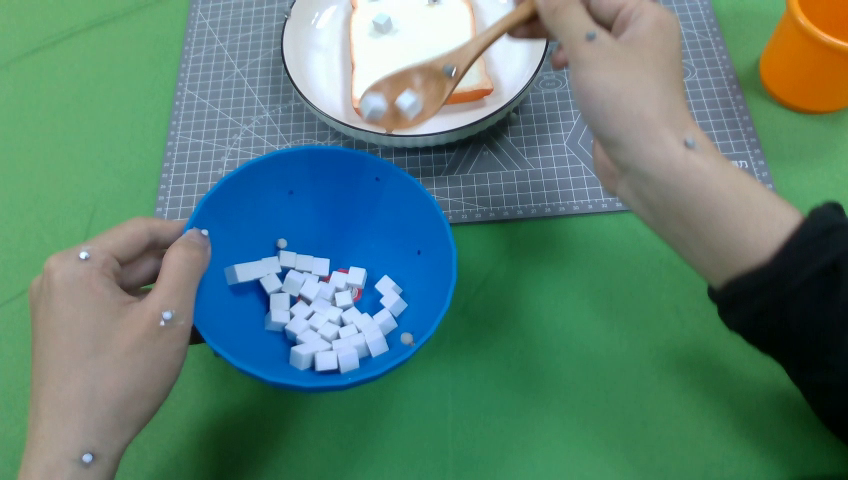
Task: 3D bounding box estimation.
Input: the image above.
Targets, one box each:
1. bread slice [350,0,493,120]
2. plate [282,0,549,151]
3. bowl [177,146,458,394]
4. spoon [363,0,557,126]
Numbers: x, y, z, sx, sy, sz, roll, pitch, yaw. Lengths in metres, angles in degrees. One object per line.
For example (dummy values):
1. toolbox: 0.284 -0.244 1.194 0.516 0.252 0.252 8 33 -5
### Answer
1. bread slice: -0.010 -0.158 0.491 0.107 0.018 0.133 -11 65 0
2. plate: -0.007 -0.154 0.486 0.209 0.038 0.207 -2 64 4
3. bowl: -0.060 0.027 0.363 0.152 0.077 0.150 5 60 -7
4. spoon: 0.050 -0.123 0.346 0.194 0.022 0.041 -32 63 9
